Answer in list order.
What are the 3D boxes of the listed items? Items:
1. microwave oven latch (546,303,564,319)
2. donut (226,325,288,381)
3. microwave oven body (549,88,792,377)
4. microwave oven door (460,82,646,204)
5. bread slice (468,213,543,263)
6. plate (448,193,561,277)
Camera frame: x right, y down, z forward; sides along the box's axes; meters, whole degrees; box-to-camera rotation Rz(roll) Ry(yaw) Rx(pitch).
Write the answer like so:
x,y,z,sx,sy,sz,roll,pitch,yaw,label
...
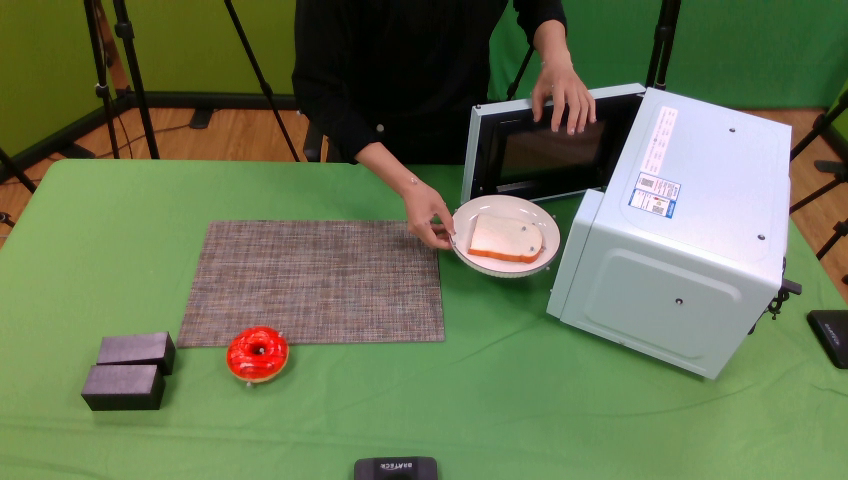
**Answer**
x,y,z,sx,sy,sz,roll,pitch,yaw,label
0.242,0.102,1.081,0.030,0.029,0.079,22,48,17,microwave oven latch
-0.270,0.182,0.984,0.099,0.048,0.098,5,49,-5,donut
0.456,-0.028,1.088,0.325,0.261,0.440,20,47,16,microwave oven body
0.254,-0.184,1.216,0.356,0.245,0.039,-11,48,-14,microwave oven door
0.154,-0.004,1.118,0.131,0.019,0.104,9,47,7,bread slice
0.147,-0.007,1.119,0.208,0.039,0.206,2,45,-1,plate
